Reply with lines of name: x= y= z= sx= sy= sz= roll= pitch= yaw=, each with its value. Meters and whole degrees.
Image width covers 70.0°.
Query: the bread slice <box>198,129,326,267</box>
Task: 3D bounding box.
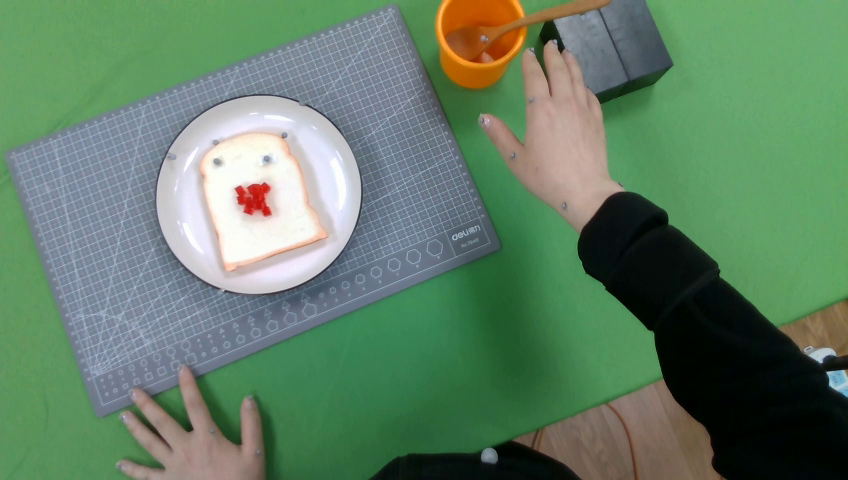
bread slice: x=-0.176 y=-0.048 z=0.629 sx=0.107 sy=0.018 sz=0.134 roll=-23 pitch=84 yaw=-6

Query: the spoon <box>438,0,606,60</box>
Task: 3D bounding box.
spoon: x=0.092 y=-0.217 z=0.605 sx=0.022 sy=0.192 sz=0.041 roll=14 pitch=79 yaw=-45

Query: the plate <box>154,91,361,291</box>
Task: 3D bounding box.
plate: x=-0.168 y=-0.050 z=0.629 sx=0.209 sy=0.038 sz=0.208 roll=0 pitch=83 yaw=-2
